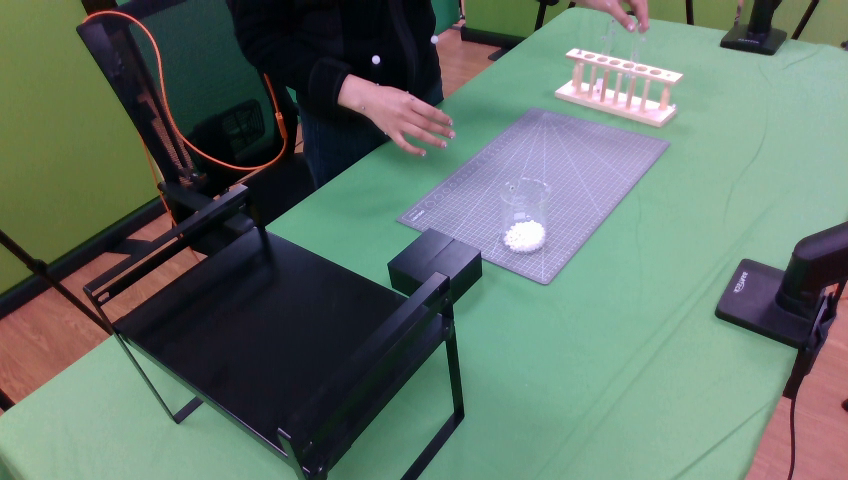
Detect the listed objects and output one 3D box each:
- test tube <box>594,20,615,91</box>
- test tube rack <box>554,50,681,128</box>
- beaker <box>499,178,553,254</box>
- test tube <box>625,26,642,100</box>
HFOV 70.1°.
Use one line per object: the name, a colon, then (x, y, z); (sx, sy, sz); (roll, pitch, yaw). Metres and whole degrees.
test tube: (0.367, -0.372, 1.233); (0.017, 0.151, 0.017); (-1, 43, 1)
test tube rack: (0.388, -0.311, 1.234); (0.240, 0.085, 0.067); (28, 51, 34)
beaker: (0.158, -0.036, 0.929); (0.084, 0.100, 0.073); (-16, 41, -12)
test tube: (0.399, -0.336, 1.153); (0.017, 0.151, 0.017); (-5, 44, 5)
